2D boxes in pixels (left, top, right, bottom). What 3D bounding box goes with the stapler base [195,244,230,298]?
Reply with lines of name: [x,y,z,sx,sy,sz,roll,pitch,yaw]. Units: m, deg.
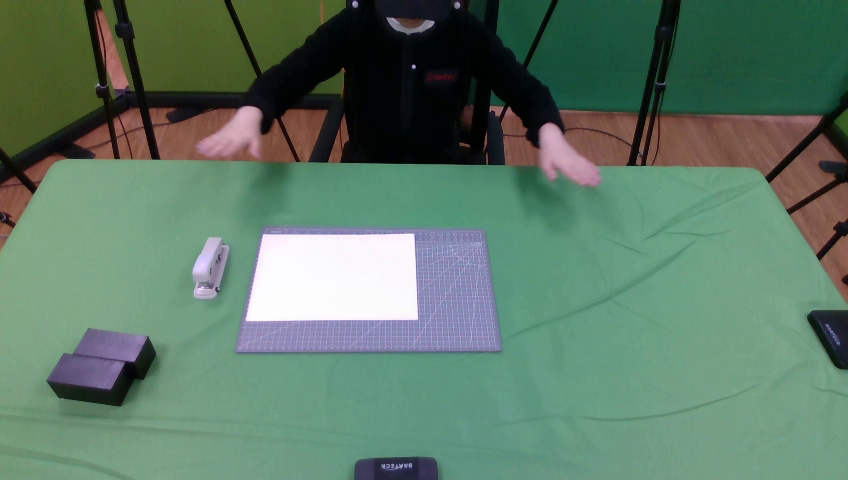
stapler base: [-0.391,0.050,1.118,0.041,0.024,0.129,2,44,-5]

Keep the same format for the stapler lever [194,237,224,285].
stapler lever: [-0.390,0.031,1.101,0.027,0.040,0.117,2,44,-5]
